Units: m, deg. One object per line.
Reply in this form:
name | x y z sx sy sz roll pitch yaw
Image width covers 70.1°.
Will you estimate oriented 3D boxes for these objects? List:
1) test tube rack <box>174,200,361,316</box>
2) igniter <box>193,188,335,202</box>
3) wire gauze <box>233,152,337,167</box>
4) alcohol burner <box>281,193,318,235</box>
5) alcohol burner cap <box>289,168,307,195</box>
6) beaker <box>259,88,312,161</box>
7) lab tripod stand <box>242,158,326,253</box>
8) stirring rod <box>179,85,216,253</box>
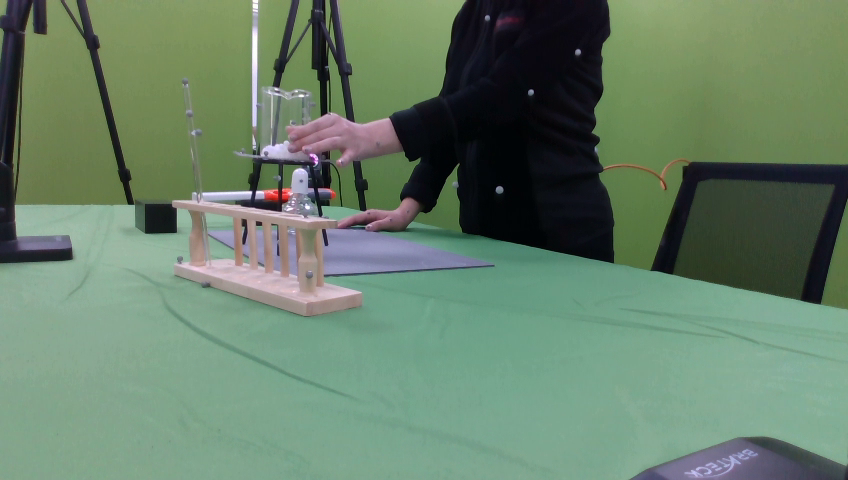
test tube rack | -0.169 0.009 0.622 0.241 0.085 0.067 9 9 41
igniter | -0.313 -0.089 1.209 0.278 0.025 0.057 -5 13 -31
wire gauze | -0.205 -0.119 0.887 0.122 0.011 0.124 2 4 -32
alcohol burner | -0.225 -0.069 1.086 0.078 0.119 0.078 2 6 0
alcohol burner cap | -0.224 -0.105 1.081 0.034 0.048 0.034 4 3 0
beaker | -0.201 -0.166 0.876 0.074 0.100 0.083 1 7 -17
lab tripod stand | -0.207 -0.054 0.895 0.148 0.131 0.148 2 5 0
stirring rod | -0.237 -0.073 0.634 0.006 0.176 0.014 0 9 41
